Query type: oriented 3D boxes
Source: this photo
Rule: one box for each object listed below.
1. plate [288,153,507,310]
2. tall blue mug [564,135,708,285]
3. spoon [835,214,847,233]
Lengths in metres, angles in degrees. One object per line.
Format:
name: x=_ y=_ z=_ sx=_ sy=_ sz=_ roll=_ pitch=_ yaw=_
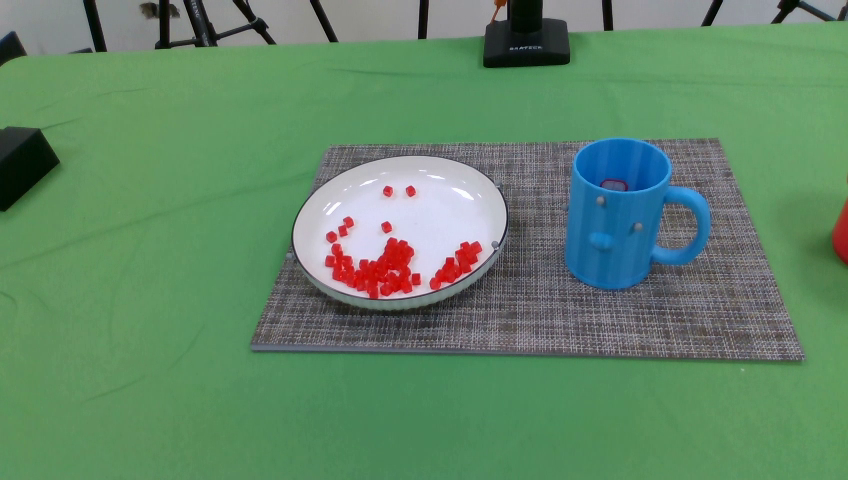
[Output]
plate: x=-0.024 y=-0.009 z=0.584 sx=0.207 sy=0.039 sz=0.205 roll=-4 pitch=43 yaw=4
tall blue mug: x=0.177 y=-0.025 z=0.521 sx=0.107 sy=0.109 sz=0.077 roll=-4 pitch=42 yaw=3
spoon: x=0.429 y=-0.032 z=0.474 sx=0.041 sy=0.193 sz=0.021 roll=-35 pitch=95 yaw=-32
